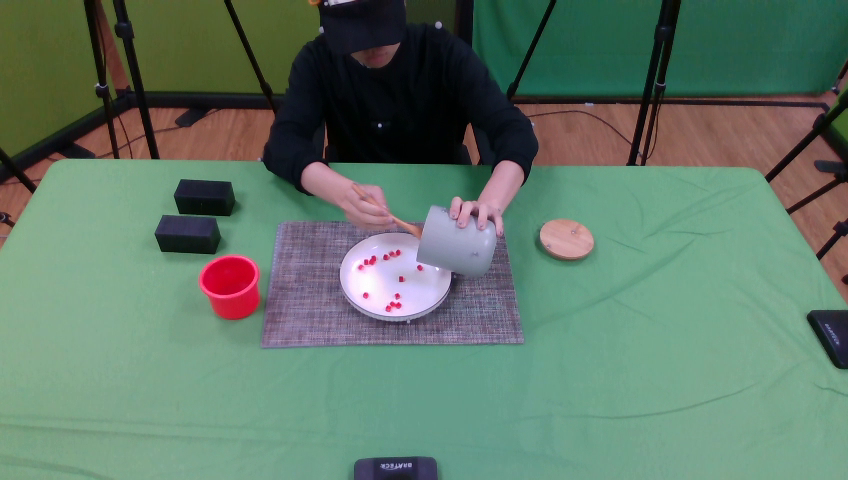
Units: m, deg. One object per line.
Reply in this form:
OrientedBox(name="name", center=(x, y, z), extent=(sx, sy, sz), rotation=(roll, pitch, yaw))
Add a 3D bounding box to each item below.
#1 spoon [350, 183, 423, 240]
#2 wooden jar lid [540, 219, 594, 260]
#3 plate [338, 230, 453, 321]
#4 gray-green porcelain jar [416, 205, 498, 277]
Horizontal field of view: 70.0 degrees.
OrientedBox(name="spoon", center=(-0.049, -0.037, 1.036), extent=(0.194, 0.021, 0.041), rotation=(33, 43, -12))
OrientedBox(name="wooden jar lid", center=(0.286, 0.001, 1.218), extent=(0.108, 0.021, 0.107), rotation=(1, 46, -1))
OrientedBox(name="plate", center=(-0.052, 0.068, 1.111), extent=(0.208, 0.039, 0.206), rotation=(2, 46, -2))
OrientedBox(name="gray-green porcelain jar", center=(0.060, 0.004, 1.058), extent=(0.126, 0.106, 0.105), rotation=(15, 47, 4))
